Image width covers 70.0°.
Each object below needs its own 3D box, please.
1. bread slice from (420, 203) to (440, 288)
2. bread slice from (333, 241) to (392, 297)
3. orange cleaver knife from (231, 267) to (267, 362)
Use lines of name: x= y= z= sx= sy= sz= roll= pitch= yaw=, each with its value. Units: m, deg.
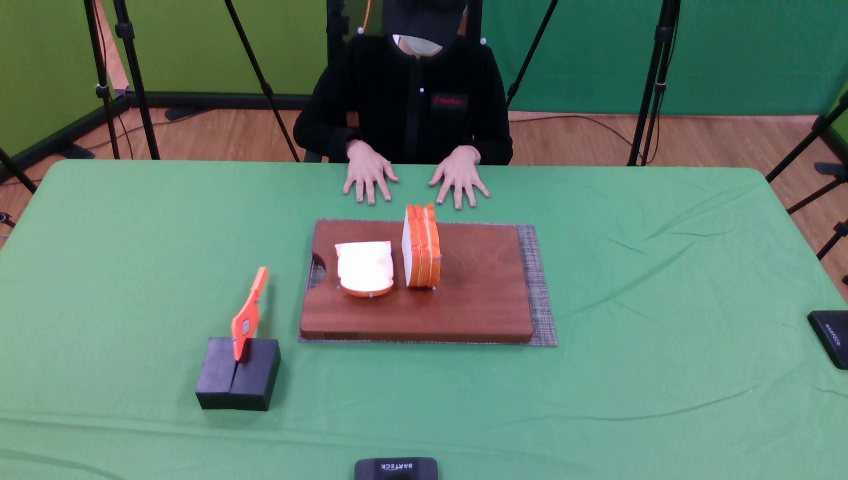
bread slice: x=0.010 y=0.018 z=1.089 sx=0.018 sy=0.107 sz=0.133 roll=-2 pitch=54 yaw=-7
bread slice: x=-0.110 y=0.052 z=1.096 sx=0.105 sy=0.019 sz=0.130 roll=-2 pitch=43 yaw=-8
orange cleaver knife: x=-0.292 y=0.119 z=1.019 sx=0.012 sy=0.077 sz=0.210 roll=0 pitch=27 yaw=0
